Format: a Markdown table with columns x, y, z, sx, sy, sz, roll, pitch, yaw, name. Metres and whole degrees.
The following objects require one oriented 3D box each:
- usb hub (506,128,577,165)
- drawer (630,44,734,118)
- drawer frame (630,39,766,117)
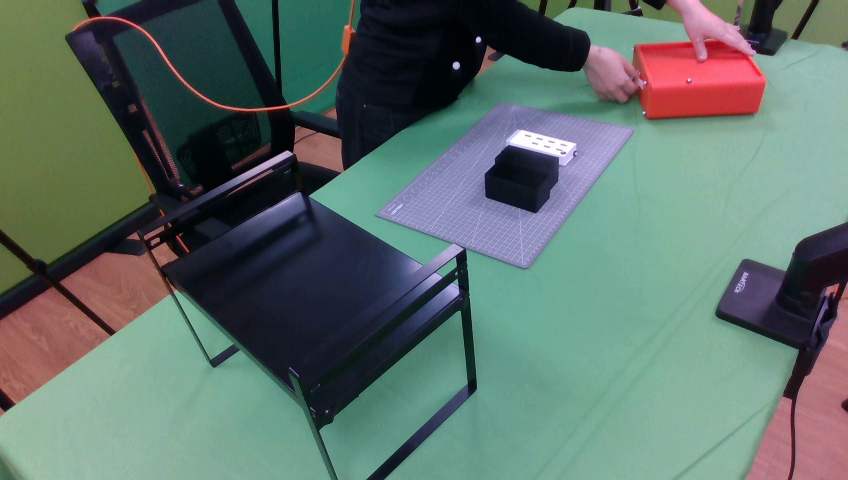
| x | y | z | sx | sy | sz | roll | pitch | yaw | name |
| --- | --- | --- | --- | --- | --- | --- | --- | --- | --- |
| 0.221 | -0.177 | 1.141 | 0.124 | 0.025 | 0.049 | 22 | 49 | 30 | usb hub |
| 0.543 | -0.329 | 1.234 | 0.211 | 0.073 | 0.193 | 0 | 40 | 7 | drawer |
| 0.545 | -0.332 | 1.233 | 0.213 | 0.083 | 0.201 | -1 | 41 | 6 | drawer frame |
